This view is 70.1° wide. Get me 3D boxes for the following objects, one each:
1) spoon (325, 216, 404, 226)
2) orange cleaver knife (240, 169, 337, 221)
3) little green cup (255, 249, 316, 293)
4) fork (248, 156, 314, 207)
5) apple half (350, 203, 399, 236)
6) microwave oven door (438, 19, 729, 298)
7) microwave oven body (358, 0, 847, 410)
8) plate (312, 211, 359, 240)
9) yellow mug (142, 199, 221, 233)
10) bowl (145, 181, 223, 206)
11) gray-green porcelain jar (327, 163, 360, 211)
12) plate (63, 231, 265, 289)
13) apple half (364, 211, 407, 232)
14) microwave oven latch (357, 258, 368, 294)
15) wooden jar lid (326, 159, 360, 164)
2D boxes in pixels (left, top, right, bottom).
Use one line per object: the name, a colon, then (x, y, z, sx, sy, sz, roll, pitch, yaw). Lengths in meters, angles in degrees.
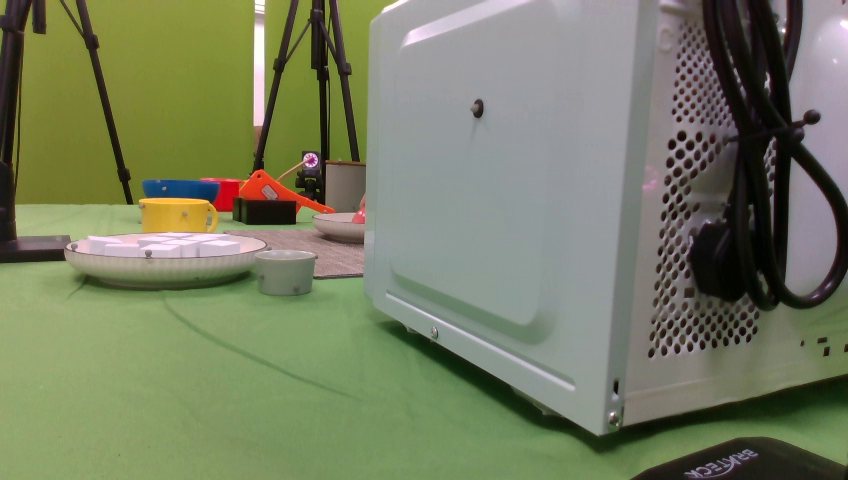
spoon: (-0.120, -0.043, 1.273, 0.195, 0.021, 0.041, -4, -11, -39)
orange cleaver knife: (-0.286, -0.082, 1.299, 0.212, 0.077, 0.012, 25, -2, -31)
little green cup: (-0.144, 0.031, 0.627, 0.061, 0.038, 0.061, 2, 6, 0)
fork: (-0.360, -0.147, 1.523, 0.207, 0.019, 0.028, -43, 16, -7)
apple half: (-0.082, -0.036, 1.024, 0.081, 0.053, 0.074, -3, 11, -34)
microwave oven door: (0.181, -0.076, 0.618, 0.358, 0.243, 0.039, -2, 8, -28)
microwave oven body: (0.210, -0.051, 0.471, 0.444, 0.260, 0.324, -1, 7, -28)
plate: (-0.091, -0.026, 1.062, 0.209, 0.038, 0.209, 2, 7, 0)
yellow mug: (-0.372, -0.030, 0.947, 0.099, 0.064, 0.131, 6, 7, 30)
bowl: (-0.499, -0.081, 1.261, 0.151, 0.077, 0.151, 2, 8, 0)
gray-green porcelain jar: (-0.187, -0.125, 1.490, 0.106, 0.126, 0.106, 2, 8, 0)
plate: (-0.288, 0.021, 0.687, 0.208, 0.039, 0.207, 2, 8, 0)
apple half: (-0.068, -0.037, 1.103, 0.081, 0.033, 0.081, -1, 11, 1)
microwave oven latch: (-0.019, 0.031, 0.530, 0.079, 0.029, 0.030, -1, 7, -27)
wooden jar lid: (-0.185, -0.187, 1.481, 0.108, 0.020, 0.108, 4, 6, 0)
